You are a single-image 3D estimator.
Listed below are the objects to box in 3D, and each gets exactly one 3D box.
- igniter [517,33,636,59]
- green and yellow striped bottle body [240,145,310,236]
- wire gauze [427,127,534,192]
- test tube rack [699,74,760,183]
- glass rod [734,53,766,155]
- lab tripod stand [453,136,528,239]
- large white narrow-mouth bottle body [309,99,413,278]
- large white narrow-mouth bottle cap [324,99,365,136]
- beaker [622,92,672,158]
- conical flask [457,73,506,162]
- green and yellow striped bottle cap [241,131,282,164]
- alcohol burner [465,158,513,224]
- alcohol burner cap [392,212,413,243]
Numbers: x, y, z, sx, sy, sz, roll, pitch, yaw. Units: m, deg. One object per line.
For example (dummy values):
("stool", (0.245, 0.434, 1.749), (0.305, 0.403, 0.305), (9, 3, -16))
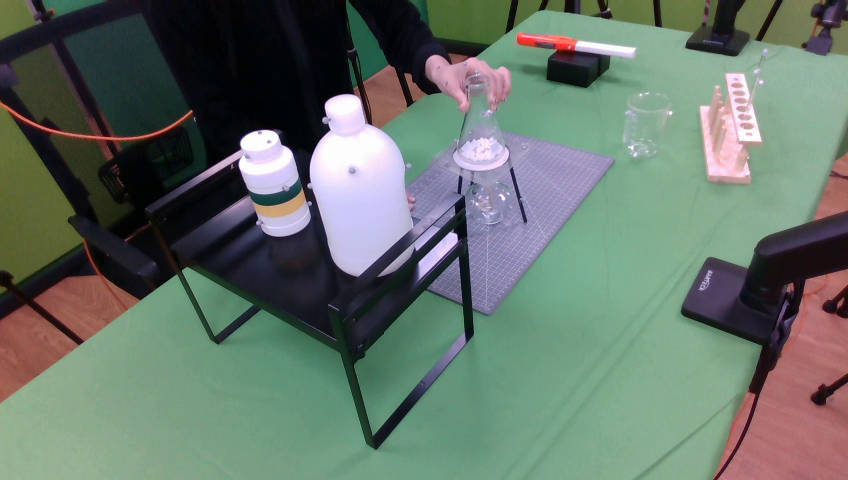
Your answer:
("igniter", (0.336, -0.441, 1.369), (0.275, 0.025, 0.057), (17, 41, 24))
("green and yellow striped bottle body", (-0.181, -0.068, 0.729), (0.063, 0.120, 0.063), (-4, 40, 4))
("wire gauze", (0.086, -0.130, 0.925), (0.124, 0.011, 0.122), (28, 54, 31))
("test tube rack", (0.547, -0.208, 1.095), (0.066, 0.085, 0.242), (6, 42, 16))
("glass rod", (0.540, -0.219, 1.006), (0.008, 0.201, 0.008), (-5, 45, 6))
("lab tripod stand", (0.094, -0.086, 0.974), (0.148, 0.132, 0.147), (-4, 42, 4))
("large white narrow-mouth bottle body", (-0.069, -0.057, 0.645), (0.102, 0.195, 0.101), (-3, 42, 4))
("large white narrow-mouth bottle cap", (-0.076, -0.119, 0.586), (0.038, 0.024, 0.037), (-3, 42, 3))
("beaker", (0.402, -0.209, 1.106), (0.074, 0.101, 0.083), (-9, 40, -2))
("conical flask", (0.082, -0.181, 0.894), (0.075, 0.122, 0.075), (-4, 41, 4))
("green and yellow striped bottle cap", (-0.187, -0.107, 0.695), (0.045, 0.020, 0.045), (-3, 39, 3))
("alcohol burner", (0.105, -0.085, 0.987), (0.078, 0.119, 0.077), (-5, 43, 5))
("alcohol burner cap", (-0.037, -0.023, 0.990), (0.034, 0.048, 0.033), (-5, 40, 5))
